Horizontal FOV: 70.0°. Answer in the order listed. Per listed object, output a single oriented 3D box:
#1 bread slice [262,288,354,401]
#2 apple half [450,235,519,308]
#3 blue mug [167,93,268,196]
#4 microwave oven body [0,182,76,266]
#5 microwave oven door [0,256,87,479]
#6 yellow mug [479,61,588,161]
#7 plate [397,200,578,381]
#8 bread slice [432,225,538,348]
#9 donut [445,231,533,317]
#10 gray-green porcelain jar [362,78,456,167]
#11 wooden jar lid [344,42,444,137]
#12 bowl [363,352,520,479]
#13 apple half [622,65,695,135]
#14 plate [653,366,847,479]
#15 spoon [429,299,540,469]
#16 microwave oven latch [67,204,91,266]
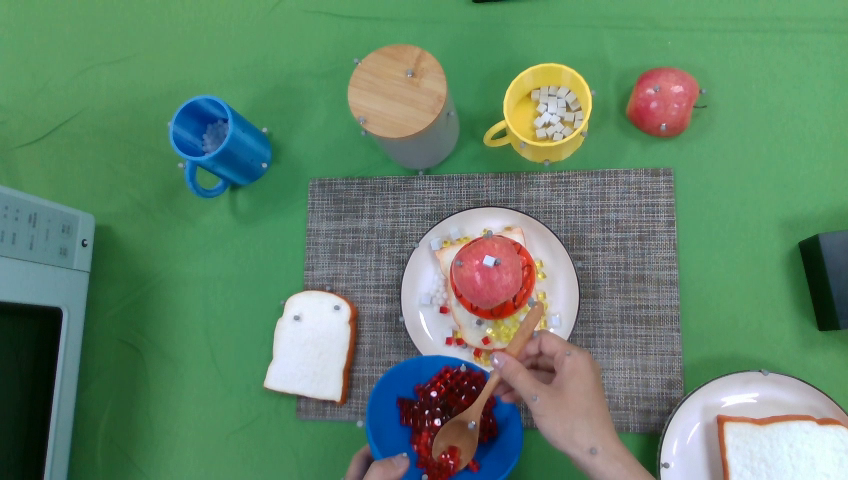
[{"bbox_3d":[-0.141,0.124,0.745,0.104,0.019,0.131,7,83,10],"label":"bread slice"},{"bbox_3d":[0.064,0.031,0.646,0.081,0.033,0.081,-4,76,16],"label":"apple half"},{"bbox_3d":[-0.263,-0.110,0.763,0.082,0.106,0.116,20,85,13],"label":"blue mug"},{"bbox_3d":[-0.628,0.153,0.701,0.325,0.261,0.440,0,81,10],"label":"microwave oven body"},{"bbox_3d":[-0.487,0.192,0.664,0.039,0.245,0.354,-1,80,11],"label":"microwave oven door"},{"bbox_3d":[0.127,-0.145,0.719,0.131,0.064,0.099,-23,77,7],"label":"yellow mug"},{"bbox_3d":[0.073,0.059,0.706,0.207,0.039,0.207,-2,81,10],"label":"plate"},{"bbox_3d":[0.078,0.057,0.707,0.107,0.018,0.133,-18,78,7],"label":"bread slice"},{"bbox_3d":[0.073,0.038,0.681,0.099,0.048,0.098,-2,81,11],"label":"donut"},{"bbox_3d":[-0.019,-0.149,0.715,0.105,0.127,0.105,-2,80,10],"label":"gray-green porcelain jar"},{"bbox_3d":[-0.031,-0.160,0.653,0.108,0.021,0.108,-2,78,8],"label":"wooden jar lid"},{"bbox_3d":[0.011,0.193,0.592,0.152,0.077,0.150,8,40,-7],"label":"bowl"},{"bbox_3d":[0.274,-0.169,0.704,0.074,0.053,0.080,22,85,16],"label":"apple half"},{"bbox_3d":[0.345,0.236,0.631,0.209,0.038,0.208,-2,80,11],"label":"plate"},{"bbox_3d":[0.058,0.137,0.567,0.041,0.022,0.194,34,111,18],"label":"spoon"},{"bbox_3d":[-0.462,-0.007,0.797,0.030,0.029,0.079,4,82,11],"label":"microwave oven latch"}]
